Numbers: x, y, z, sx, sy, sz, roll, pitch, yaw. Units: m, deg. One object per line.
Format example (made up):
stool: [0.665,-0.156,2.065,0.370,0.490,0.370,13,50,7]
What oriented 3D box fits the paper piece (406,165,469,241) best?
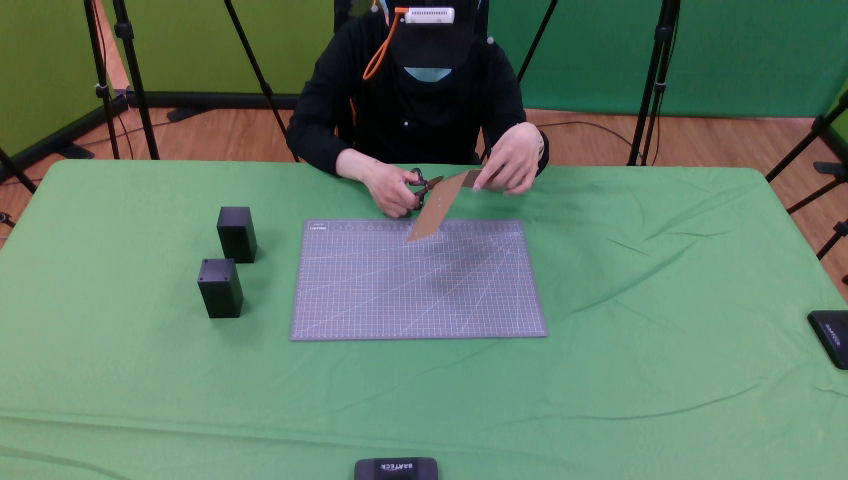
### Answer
paper piece: [0.019,-0.062,1.058,0.004,0.135,0.135,34,73,-14]

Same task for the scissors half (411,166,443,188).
scissors half: [0.005,-0.120,1.182,0.013,0.040,0.174,-7,14,-18]

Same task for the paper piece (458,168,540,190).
paper piece: [0.118,-0.111,1.109,0.138,0.136,0.008,3,85,-23]

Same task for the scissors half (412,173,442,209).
scissors half: [0.007,-0.098,1.181,0.013,0.175,0.040,-2,74,-18]
